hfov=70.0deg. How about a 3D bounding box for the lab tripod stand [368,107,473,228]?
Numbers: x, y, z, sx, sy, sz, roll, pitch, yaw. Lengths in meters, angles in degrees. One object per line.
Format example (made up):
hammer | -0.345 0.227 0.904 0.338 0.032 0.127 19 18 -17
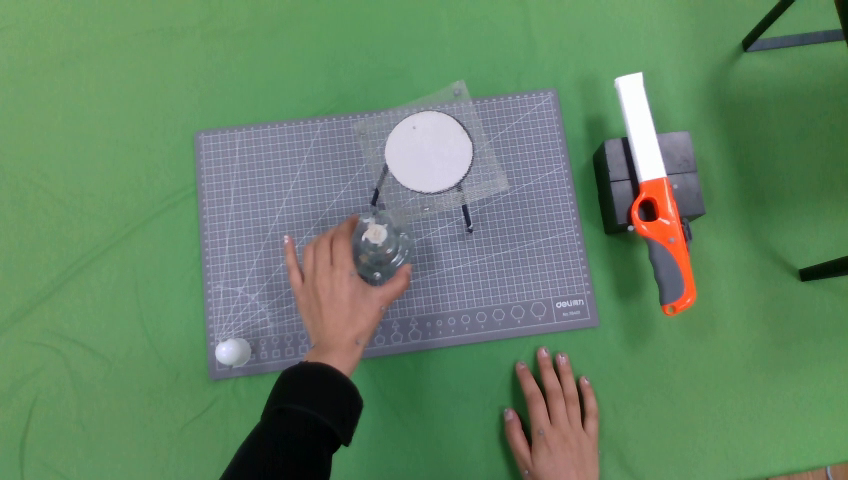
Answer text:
lab tripod stand | 0.003 -0.082 0.667 0.148 0.132 0.147 0 78 1

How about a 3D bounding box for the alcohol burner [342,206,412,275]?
alcohol burner | -0.052 -0.002 0.661 0.078 0.119 0.077 0 81 -2

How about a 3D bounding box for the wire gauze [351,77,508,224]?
wire gauze | 0.004 -0.089 0.600 0.125 0.011 0.121 -20 80 -4

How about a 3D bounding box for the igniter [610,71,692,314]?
igniter | 0.252 -0.057 0.675 0.057 0.025 0.275 -11 79 9

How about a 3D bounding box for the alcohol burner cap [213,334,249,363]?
alcohol burner cap | -0.217 0.119 0.672 0.034 0.048 0.033 0 76 1
